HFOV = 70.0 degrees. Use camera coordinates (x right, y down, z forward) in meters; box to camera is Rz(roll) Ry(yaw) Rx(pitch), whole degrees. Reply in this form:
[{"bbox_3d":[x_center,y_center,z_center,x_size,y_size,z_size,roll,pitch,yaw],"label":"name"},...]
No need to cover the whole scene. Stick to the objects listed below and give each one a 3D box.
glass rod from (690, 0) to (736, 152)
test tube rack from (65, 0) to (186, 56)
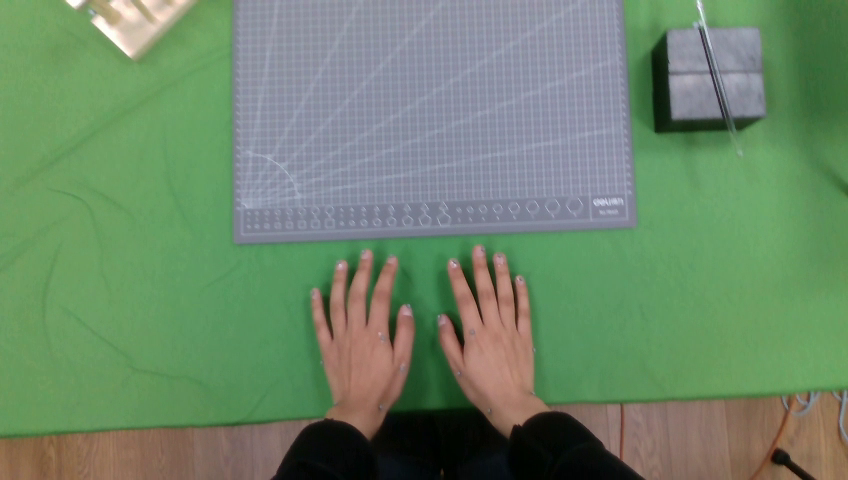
[{"bbox_3d":[0.302,-0.188,0.639,0.008,0.008,0.199,-12,85,0],"label":"glass rod"},{"bbox_3d":[-0.282,-0.326,0.666,0.066,0.085,0.242,42,86,5],"label":"test tube rack"}]
